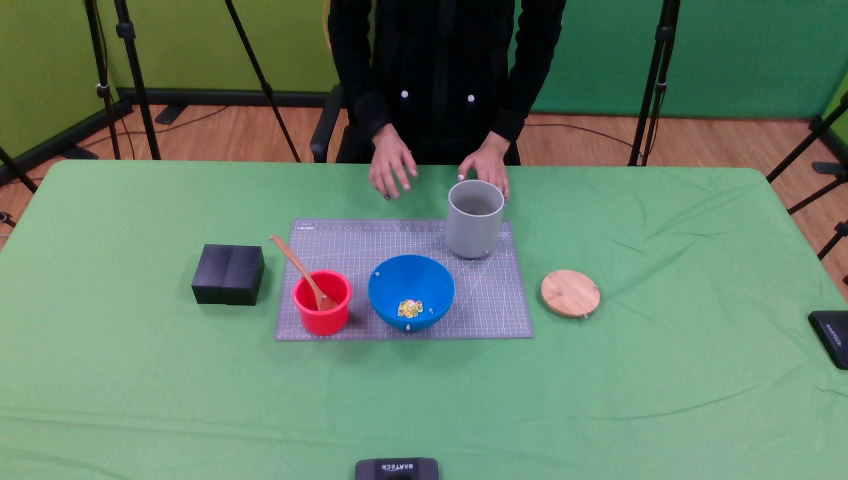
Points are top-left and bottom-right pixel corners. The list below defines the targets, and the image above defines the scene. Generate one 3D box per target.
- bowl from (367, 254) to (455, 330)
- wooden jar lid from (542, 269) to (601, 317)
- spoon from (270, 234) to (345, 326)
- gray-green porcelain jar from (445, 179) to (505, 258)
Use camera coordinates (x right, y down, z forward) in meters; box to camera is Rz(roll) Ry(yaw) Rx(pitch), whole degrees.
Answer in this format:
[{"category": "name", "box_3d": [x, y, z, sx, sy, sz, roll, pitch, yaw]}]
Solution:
[{"category": "bowl", "box_3d": [-0.023, 0.104, 1.053, 0.151, 0.077, 0.150, 2, 46, -2]}, {"category": "wooden jar lid", "box_3d": [0.272, 0.100, 1.121, 0.108, 0.021, 0.107, 3, 47, -3]}, {"category": "spoon", "box_3d": [-0.198, 0.067, 1.031, 0.041, 0.021, 0.194, -43, 106, -39]}, {"category": "gray-green porcelain jar", "box_3d": [0.095, -0.037, 1.162, 0.106, 0.127, 0.105, 2, 46, -2]}]
